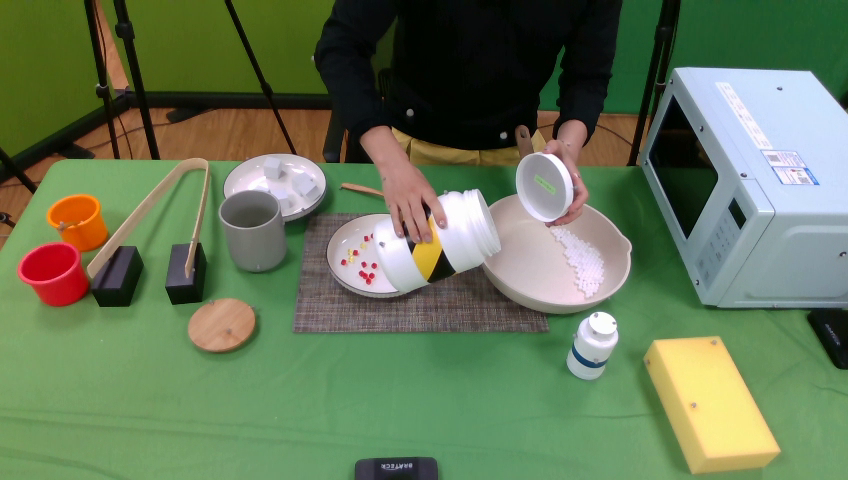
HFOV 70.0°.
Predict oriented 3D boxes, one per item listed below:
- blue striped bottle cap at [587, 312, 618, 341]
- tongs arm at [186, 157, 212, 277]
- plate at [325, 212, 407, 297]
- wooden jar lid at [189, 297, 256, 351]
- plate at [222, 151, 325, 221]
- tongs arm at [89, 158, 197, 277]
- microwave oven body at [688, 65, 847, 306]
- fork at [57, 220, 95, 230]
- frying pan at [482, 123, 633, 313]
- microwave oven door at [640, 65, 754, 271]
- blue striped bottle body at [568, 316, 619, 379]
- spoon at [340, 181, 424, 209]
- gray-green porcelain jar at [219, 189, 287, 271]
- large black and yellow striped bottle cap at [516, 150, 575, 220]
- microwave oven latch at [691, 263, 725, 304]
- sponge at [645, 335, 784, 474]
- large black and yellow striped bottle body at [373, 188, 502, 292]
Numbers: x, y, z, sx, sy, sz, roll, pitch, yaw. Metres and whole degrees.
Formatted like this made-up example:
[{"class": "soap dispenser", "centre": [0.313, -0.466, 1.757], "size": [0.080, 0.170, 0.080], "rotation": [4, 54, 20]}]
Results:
[{"class": "blue striped bottle cap", "centre": [0.279, 0.134, 0.947], "size": [0.044, 0.021, 0.044], "rotation": [2, 45, -2]}, {"class": "tongs arm", "centre": [-0.445, -0.058, 1.168], "size": [0.051, 0.026, 0.382], "rotation": [-4, 37, -6]}, {"class": "plate", "centre": [-0.081, 0.030, 1.143], "size": [0.209, 0.038, 0.208], "rotation": [3, 46, -2]}, {"class": "wooden jar lid", "centre": [-0.342, 0.145, 1.033], "size": [0.108, 0.021, 0.107], "rotation": [3, 45, -2]}, {"class": "plate", "centre": [-0.310, -0.106, 1.263], "size": [0.208, 0.039, 0.206], "rotation": [2, 47, -2]}, {"class": "tongs arm", "centre": [-0.530, -0.058, 1.163], "size": [0.028, 0.028, 0.385], "rotation": [1, 36, 7]}, {"class": "microwave oven body", "centre": [0.669, -0.111, 1.176], "size": [0.326, 0.261, 0.439], "rotation": [0, 46, -3]}, {"class": "fork", "centre": [-0.624, -0.027, 1.087], "size": [0.028, 0.207, 0.018], "rotation": [-3, 92, -17]}, {"class": "frying pan", "centre": [0.235, -0.061, 1.208], "size": [0.307, 0.103, 0.484], "rotation": [2, 55, -6]}, {"class": "microwave oven door", "centre": [0.524, -0.148, 1.193], "size": [0.039, 0.245, 0.353], "rotation": [0, 47, -3]}, {"class": "blue striped bottle body", "centre": [0.276, 0.168, 0.984], "size": [0.063, 0.121, 0.062], "rotation": [2, 46, -2]}, {"class": "spoon", "centre": [-0.090, -0.100, 1.282], "size": [0.193, 0.022, 0.041], "rotation": [18, 65, 13]}, {"class": "gray-green porcelain jar", "centre": [-0.310, -0.014, 1.113], "size": [0.106, 0.127, 0.105], "rotation": [2, 46, -2]}, {"class": "large black and yellow striped bottle cap", "centre": [0.194, -0.088, 0.976], "size": [0.019, 0.115, 0.114], "rotation": [-20, 51, -30]}, {"class": "microwave oven latch", "centre": [0.521, 0.081, 1.116], "size": [0.030, 0.029, 0.078], "rotation": [0, 46, -3]}, {"class": "sponge", "centre": [0.449, 0.253, 0.956], "size": [0.118, 0.061, 0.205], "rotation": [-4, 46, -7]}, {"class": "large black and yellow striped bottle body", "centre": [0.024, -0.003, 0.992], "size": [0.184, 0.131, 0.130], "rotation": [-21, 46, 13]}]
